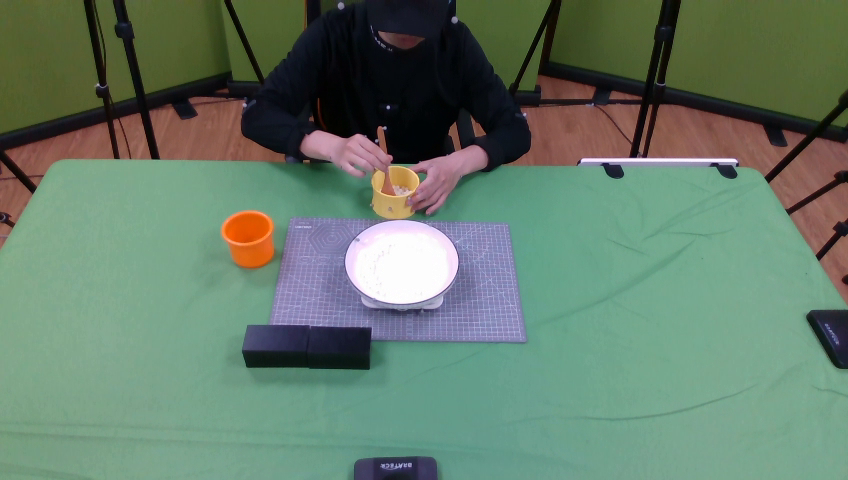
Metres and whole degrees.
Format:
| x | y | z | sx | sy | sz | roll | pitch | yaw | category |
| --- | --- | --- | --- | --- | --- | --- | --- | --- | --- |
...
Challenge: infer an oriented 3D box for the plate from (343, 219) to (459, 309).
| x | y | z | sx | sy | sz | roll | pitch | yaw | category |
| --- | --- | --- | --- | --- | --- | --- | --- | --- | --- |
| -0.041 | 0.046 | 1.094 | 0.209 | 0.038 | 0.208 | 2 | 46 | -2 | plate |

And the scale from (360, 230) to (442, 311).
| x | y | z | sx | sy | sz | roll | pitch | yaw | category |
| --- | --- | --- | --- | --- | --- | --- | --- | --- | --- |
| -0.042 | 0.047 | 1.138 | 0.149 | 0.032 | 0.199 | 2 | 46 | -3 | scale |

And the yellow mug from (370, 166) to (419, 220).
| x | y | z | sx | sy | sz | roll | pitch | yaw | category |
| --- | --- | --- | --- | --- | --- | --- | --- | --- | --- |
| -0.073 | -0.108 | 1.267 | 0.100 | 0.064 | 0.130 | -29 | 54 | -31 | yellow mug |

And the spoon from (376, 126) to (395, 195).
| x | y | z | sx | sy | sz | roll | pitch | yaw | category |
| --- | --- | --- | --- | --- | --- | --- | --- | --- | --- |
| -0.078 | -0.140 | 1.198 | 0.041 | 0.195 | 0.021 | 11 | 39 | 21 | spoon |
